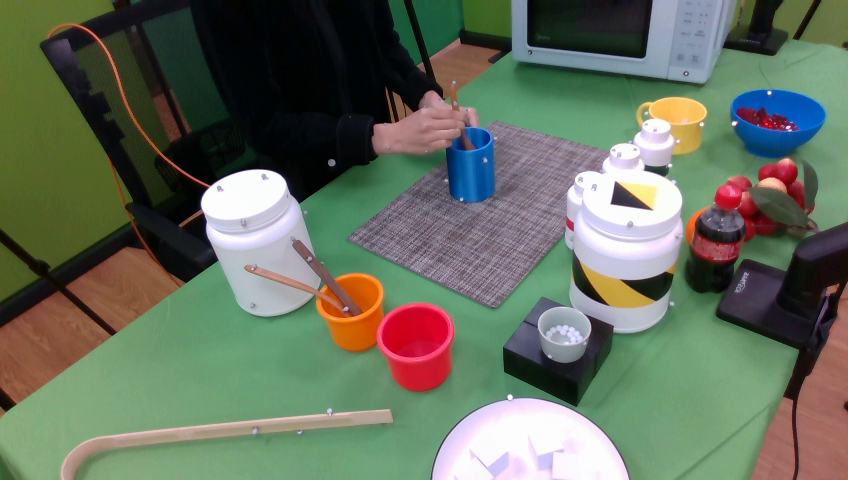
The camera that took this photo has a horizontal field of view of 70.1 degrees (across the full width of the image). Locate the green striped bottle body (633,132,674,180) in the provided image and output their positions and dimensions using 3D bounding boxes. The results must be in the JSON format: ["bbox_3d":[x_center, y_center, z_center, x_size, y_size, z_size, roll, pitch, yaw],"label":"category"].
[{"bbox_3d":[0.376,-0.135,1.001,0.063,0.120,0.063,-5,40,5],"label":"green striped bottle body"}]

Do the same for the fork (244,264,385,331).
[{"bbox_3d":[-0.142,0.078,0.806,0.209,0.018,0.028,30,32,-23],"label":"fork"}]

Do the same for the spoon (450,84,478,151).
[{"bbox_3d":[0.068,-0.179,1.010,0.021,0.195,0.041,18,59,36],"label":"spoon"}]

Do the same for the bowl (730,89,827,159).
[{"bbox_3d":[0.615,-0.197,1.069,0.151,0.077,0.150,-5,40,4],"label":"bowl"}]

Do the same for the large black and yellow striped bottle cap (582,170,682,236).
[{"bbox_3d":[0.252,-0.048,0.735,0.115,0.019,0.114,-3,40,3],"label":"large black and yellow striped bottle cap"}]

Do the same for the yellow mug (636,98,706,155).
[{"bbox_3d":[0.453,-0.217,1.128,0.100,0.064,0.129,-34,46,-27],"label":"yellow mug"}]

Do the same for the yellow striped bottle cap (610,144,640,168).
[{"bbox_3d":[0.307,-0.128,0.923,0.044,0.019,0.044,-5,39,5],"label":"yellow striped bottle cap"}]

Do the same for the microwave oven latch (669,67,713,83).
[{"bbox_3d":[0.556,-0.348,1.261,0.078,0.029,0.030,16,46,27],"label":"microwave oven latch"}]

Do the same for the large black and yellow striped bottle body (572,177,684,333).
[{"bbox_3d":[0.262,0.017,0.788,0.131,0.185,0.130,-5,40,4],"label":"large black and yellow striped bottle body"}]

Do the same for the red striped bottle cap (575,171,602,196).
[{"bbox_3d":[0.242,-0.081,0.876,0.044,0.018,0.044,-5,44,5],"label":"red striped bottle cap"}]

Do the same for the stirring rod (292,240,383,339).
[{"bbox_3d":[-0.118,0.068,0.826,0.176,0.006,0.014,49,59,-4],"label":"stirring rod"}]

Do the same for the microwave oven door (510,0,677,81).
[{"bbox_3d":[0.354,-0.478,1.290,0.353,0.245,0.039,15,45,25],"label":"microwave oven door"}]

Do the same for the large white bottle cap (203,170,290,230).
[{"bbox_3d":[-0.241,-0.057,0.822,0.115,0.018,0.114,-4,40,4],"label":"large white bottle cap"}]

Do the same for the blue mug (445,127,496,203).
[{"bbox_3d":[0.082,-0.140,1.059,0.082,0.106,0.116,-4,40,5],"label":"blue mug"}]

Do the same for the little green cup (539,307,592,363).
[{"bbox_3d":[0.168,0.114,0.721,0.061,0.039,0.061,-4,43,4],"label":"little green cup"}]

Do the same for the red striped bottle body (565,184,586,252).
[{"bbox_3d":[0.247,-0.041,0.910,0.063,0.120,0.062,-3,39,3],"label":"red striped bottle body"}]

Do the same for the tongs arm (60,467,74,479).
[{"bbox_3d":[-0.239,0.301,0.648,0.386,0.028,0.028,6,49,16],"label":"tongs arm"}]

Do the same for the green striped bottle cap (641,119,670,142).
[{"bbox_3d":[0.371,-0.175,0.968,0.044,0.020,0.044,-6,42,6],"label":"green striped bottle cap"}]

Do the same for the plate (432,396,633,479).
[{"bbox_3d":[0.112,0.261,0.634,0.209,0.038,0.208,-5,40,4],"label":"plate"}]

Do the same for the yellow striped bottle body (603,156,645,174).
[{"bbox_3d":[0.313,-0.089,0.956,0.063,0.121,0.062,-4,40,4],"label":"yellow striped bottle body"}]

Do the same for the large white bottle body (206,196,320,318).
[{"bbox_3d":[-0.233,0.008,0.877,0.130,0.185,0.130,-4,40,4],"label":"large white bottle body"}]

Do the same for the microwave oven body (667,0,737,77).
[{"bbox_3d":[0.462,-0.552,1.369,0.439,0.261,0.326,15,45,26],"label":"microwave oven body"}]

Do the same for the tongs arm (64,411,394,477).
[{"bbox_3d":[-0.228,0.241,0.715,0.385,0.026,0.050,-5,43,4],"label":"tongs arm"}]
